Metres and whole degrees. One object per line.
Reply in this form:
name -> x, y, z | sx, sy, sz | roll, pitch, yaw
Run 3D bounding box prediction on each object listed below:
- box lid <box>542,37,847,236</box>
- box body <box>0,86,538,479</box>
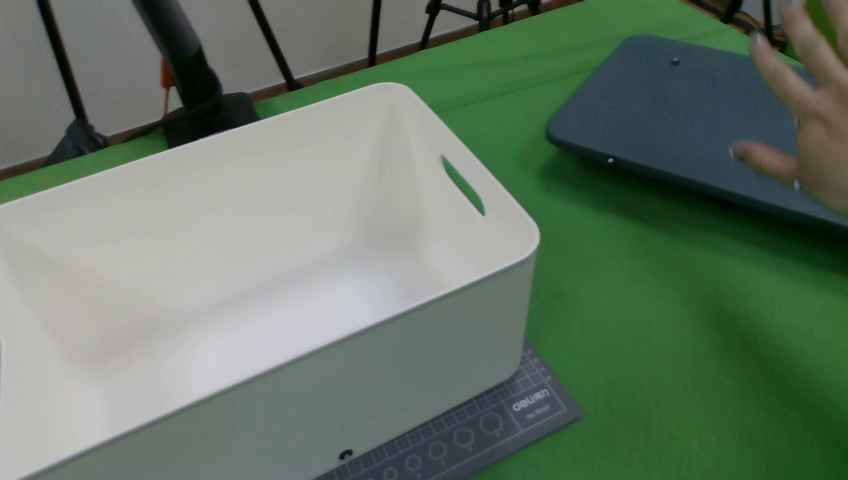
box lid -> 0.340, -0.128, 0.654 | 0.368, 0.015, 0.262 | 23, 51, 27
box body -> -0.124, 0.050, 0.478 | 0.364, 0.162, 0.251 | -23, 46, -15
